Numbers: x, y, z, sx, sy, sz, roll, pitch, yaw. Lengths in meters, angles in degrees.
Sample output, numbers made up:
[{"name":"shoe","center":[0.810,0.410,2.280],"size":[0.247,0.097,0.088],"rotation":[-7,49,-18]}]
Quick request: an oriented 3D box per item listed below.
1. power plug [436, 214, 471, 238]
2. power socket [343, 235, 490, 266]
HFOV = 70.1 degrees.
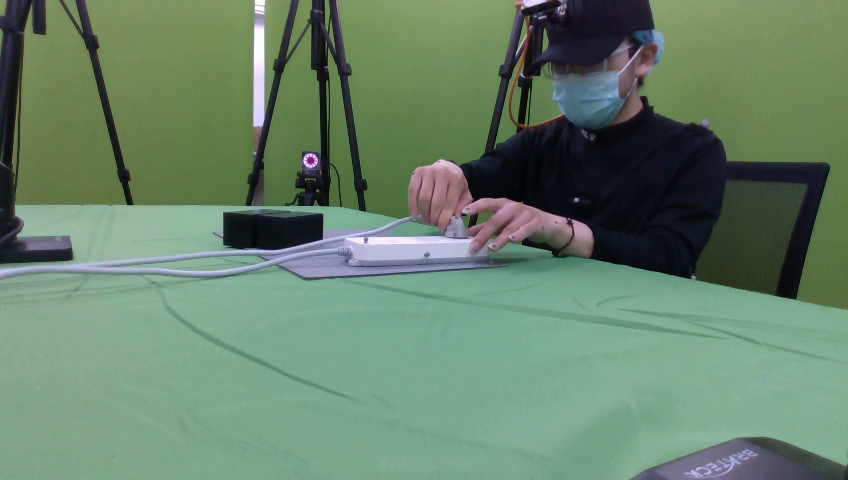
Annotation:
[{"name":"power plug","center":[0.045,-0.013,0.909],"size":[0.035,0.052,0.072],"rotation":[-1,5,-17]},{"name":"power socket","center":[-0.007,0.012,0.847],"size":[0.228,0.032,0.072],"rotation":[-2,7,-30]}]
